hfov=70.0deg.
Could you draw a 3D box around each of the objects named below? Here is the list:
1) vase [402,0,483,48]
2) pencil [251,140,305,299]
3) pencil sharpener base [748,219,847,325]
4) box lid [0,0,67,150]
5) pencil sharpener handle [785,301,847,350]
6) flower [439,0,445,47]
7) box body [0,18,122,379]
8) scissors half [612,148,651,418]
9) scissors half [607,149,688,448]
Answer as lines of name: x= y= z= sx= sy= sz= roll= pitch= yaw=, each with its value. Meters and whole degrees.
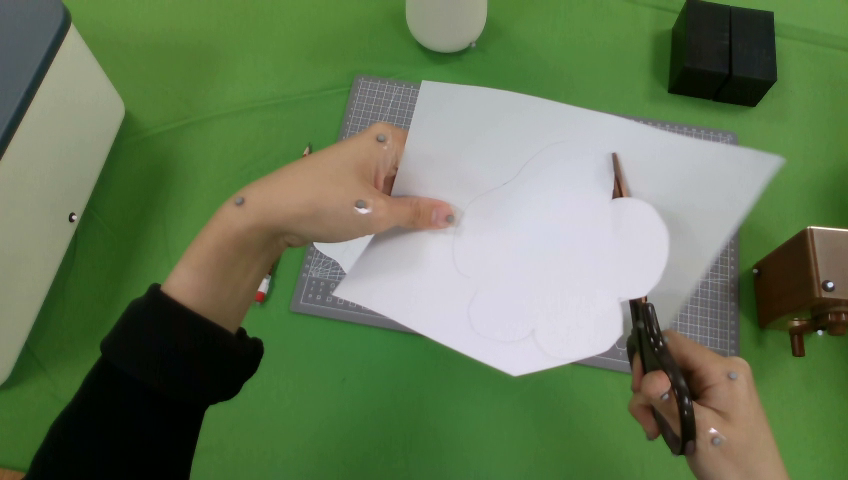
vase: x=0.021 y=-0.307 z=0.663 sx=0.098 sy=0.201 sz=0.097 roll=0 pitch=67 yaw=1
pencil: x=-0.154 y=-0.028 z=0.653 sx=0.012 sy=0.012 sz=0.193 roll=10 pitch=67 yaw=4
pencil sharpener base: x=0.365 y=0.037 z=0.577 sx=0.061 sy=0.108 sz=0.076 roll=5 pitch=68 yaw=2
box lid: x=-0.488 y=-0.087 z=0.510 sx=0.263 sy=0.015 sz=0.369 roll=10 pitch=68 yaw=3
pencil sharpener handle: x=0.356 y=0.079 z=0.547 sx=0.036 sy=0.068 sz=0.030 roll=10 pitch=68 yaw=-11
flower: x=0.016 y=-0.351 z=0.591 sx=0.044 sy=0.365 sz=0.038 roll=3 pitch=50 yaw=5
box body: x=-0.488 y=-0.056 z=0.579 sx=0.254 sy=0.161 sz=0.361 roll=9 pitch=68 yaw=4
scissors half: x=0.125 y=0.030 z=0.362 sx=0.013 sy=0.040 sz=0.176 roll=-12 pitch=112 yaw=5
scissors half: x=0.124 y=0.034 z=0.341 sx=0.013 sy=0.040 sz=0.175 roll=-14 pitch=91 yaw=0
